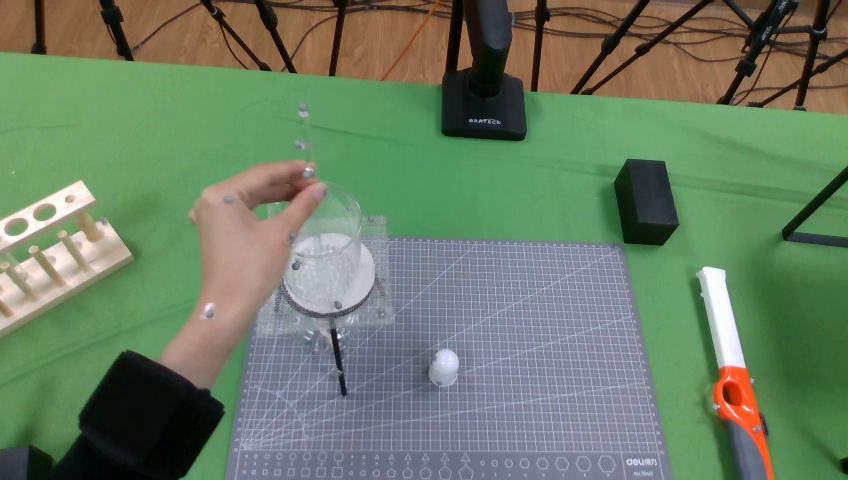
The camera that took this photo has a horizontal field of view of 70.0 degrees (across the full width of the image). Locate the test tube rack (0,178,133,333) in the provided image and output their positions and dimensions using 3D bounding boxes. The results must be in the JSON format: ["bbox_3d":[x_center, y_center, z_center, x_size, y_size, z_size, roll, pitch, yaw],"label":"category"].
[{"bbox_3d":[-0.447,0.040,0.634,0.242,0.086,0.066,-36,68,-23],"label":"test tube rack"}]

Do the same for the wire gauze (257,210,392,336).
[{"bbox_3d":[-0.095,0.026,0.569,0.121,0.011,0.124,-3,63,-6],"label":"wire gauze"}]

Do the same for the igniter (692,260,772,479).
[{"bbox_3d":[0.342,0.146,0.681,0.057,0.025,0.274,10,58,-12],"label":"igniter"}]

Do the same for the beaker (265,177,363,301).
[{"bbox_3d":[-0.095,0.003,0.525,0.084,0.101,0.073,24,60,9],"label":"beaker"}]

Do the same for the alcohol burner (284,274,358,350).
[{"bbox_3d":[-0.107,0.068,0.630,0.078,0.120,0.077,4,57,-5],"label":"alcohol burner"}]

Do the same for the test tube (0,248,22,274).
[{"bbox_3d":[-0.441,-0.008,0.606,0.017,0.151,0.017,3,54,-4],"label":"test tube"}]

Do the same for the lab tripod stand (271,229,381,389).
[{"bbox_3d":[-0.097,0.064,0.623,0.148,0.132,0.147,3,59,-5],"label":"lab tripod stand"}]

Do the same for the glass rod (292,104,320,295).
[{"bbox_3d":[-0.092,-0.020,0.477,0.008,0.201,0.008,3,46,-2],"label":"glass rod"}]

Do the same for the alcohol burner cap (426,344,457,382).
[{"bbox_3d":[0.020,0.130,0.648,0.034,0.048,0.033,2,59,-3],"label":"alcohol burner cap"}]
